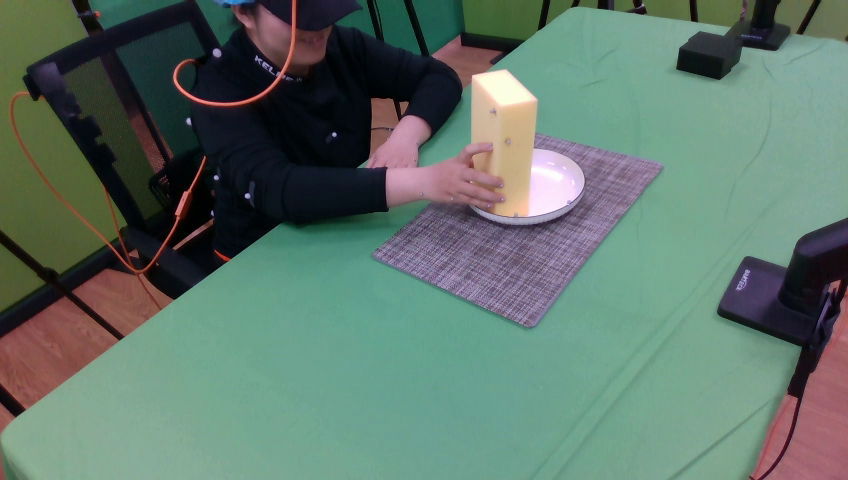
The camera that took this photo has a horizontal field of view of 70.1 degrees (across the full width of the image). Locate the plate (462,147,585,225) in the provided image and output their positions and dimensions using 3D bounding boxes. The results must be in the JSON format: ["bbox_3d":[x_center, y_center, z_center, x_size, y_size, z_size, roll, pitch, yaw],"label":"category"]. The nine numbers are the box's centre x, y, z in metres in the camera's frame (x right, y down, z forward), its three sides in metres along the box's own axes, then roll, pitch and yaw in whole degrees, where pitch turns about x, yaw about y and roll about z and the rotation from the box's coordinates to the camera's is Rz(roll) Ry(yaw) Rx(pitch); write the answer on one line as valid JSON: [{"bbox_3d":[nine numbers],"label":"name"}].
[{"bbox_3d":[0.170,-0.089,1.041,0.207,0.039,0.206,-5,40,5],"label":"plate"}]

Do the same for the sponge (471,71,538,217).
[{"bbox_3d":[0.125,-0.150,0.974,0.061,0.207,0.117,-13,38,-12],"label":"sponge"}]
